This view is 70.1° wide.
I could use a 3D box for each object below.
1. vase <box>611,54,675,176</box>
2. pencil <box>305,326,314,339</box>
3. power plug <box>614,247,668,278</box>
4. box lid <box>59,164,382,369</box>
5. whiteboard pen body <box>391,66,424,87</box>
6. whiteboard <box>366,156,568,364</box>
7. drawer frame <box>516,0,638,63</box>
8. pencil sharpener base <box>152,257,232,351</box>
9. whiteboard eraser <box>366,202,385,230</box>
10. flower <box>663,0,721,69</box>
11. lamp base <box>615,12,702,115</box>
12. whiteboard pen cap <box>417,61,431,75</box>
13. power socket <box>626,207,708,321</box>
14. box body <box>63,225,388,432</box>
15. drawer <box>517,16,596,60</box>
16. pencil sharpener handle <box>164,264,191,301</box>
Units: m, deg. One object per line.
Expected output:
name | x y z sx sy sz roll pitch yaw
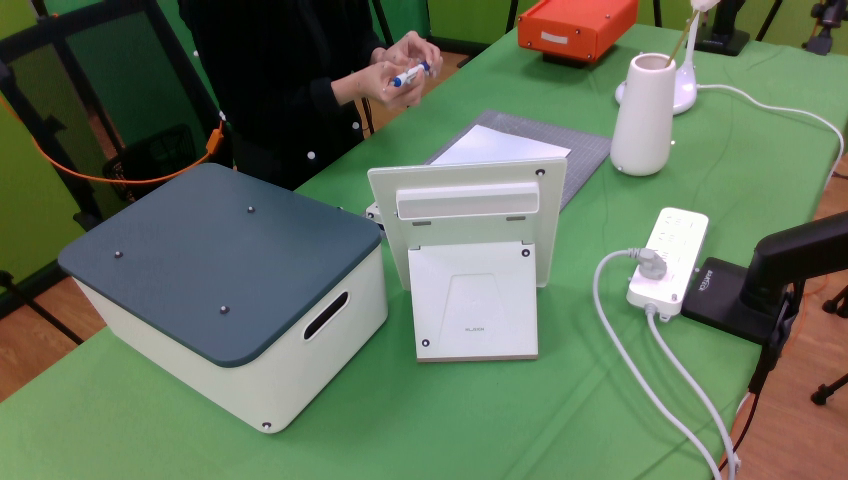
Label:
vase | 0.377 -0.209 1.031 0.098 0.201 0.097 -3 40 3
pencil | -0.187 0.105 0.879 0.012 0.012 0.192 -27 42 -22
power plug | 0.306 0.031 0.851 0.072 0.053 0.035 24 49 33
box lid | -0.263 0.010 0.777 0.368 0.015 0.264 20 47 29
whiteboard pen body | -0.021 -0.269 0.987 0.017 0.017 0.141 8 27 17
whiteboard | 0.059 0.050 0.738 0.217 0.307 0.143 -2 60 6
drawer frame | 0.355 -0.508 1.411 0.200 0.083 0.214 23 51 32
pencil sharpener base | -0.323 0.088 0.842 0.061 0.107 0.076 -27 44 -20
whiteboard eraser | -0.038 -0.038 1.006 0.112 0.042 0.055 16 47 25
flower | 0.379 -0.261 0.965 0.044 0.362 0.038 20 53 5
lamp base | 0.484 -0.363 1.211 0.180 0.181 0.159 -15 41 -14
whiteboard pen cap | -0.001 -0.295 1.039 0.018 0.018 0.033 10 33 19
power socket | 0.359 0.025 0.886 0.072 0.033 0.227 16 46 26
box body | -0.256 0.065 0.827 0.361 0.161 0.255 20 48 29
drawer | 0.353 -0.506 1.405 0.193 0.073 0.212 23 49 32
pencil sharpener handle | -0.354 0.055 0.866 0.036 0.068 0.030 -16 39 -29
